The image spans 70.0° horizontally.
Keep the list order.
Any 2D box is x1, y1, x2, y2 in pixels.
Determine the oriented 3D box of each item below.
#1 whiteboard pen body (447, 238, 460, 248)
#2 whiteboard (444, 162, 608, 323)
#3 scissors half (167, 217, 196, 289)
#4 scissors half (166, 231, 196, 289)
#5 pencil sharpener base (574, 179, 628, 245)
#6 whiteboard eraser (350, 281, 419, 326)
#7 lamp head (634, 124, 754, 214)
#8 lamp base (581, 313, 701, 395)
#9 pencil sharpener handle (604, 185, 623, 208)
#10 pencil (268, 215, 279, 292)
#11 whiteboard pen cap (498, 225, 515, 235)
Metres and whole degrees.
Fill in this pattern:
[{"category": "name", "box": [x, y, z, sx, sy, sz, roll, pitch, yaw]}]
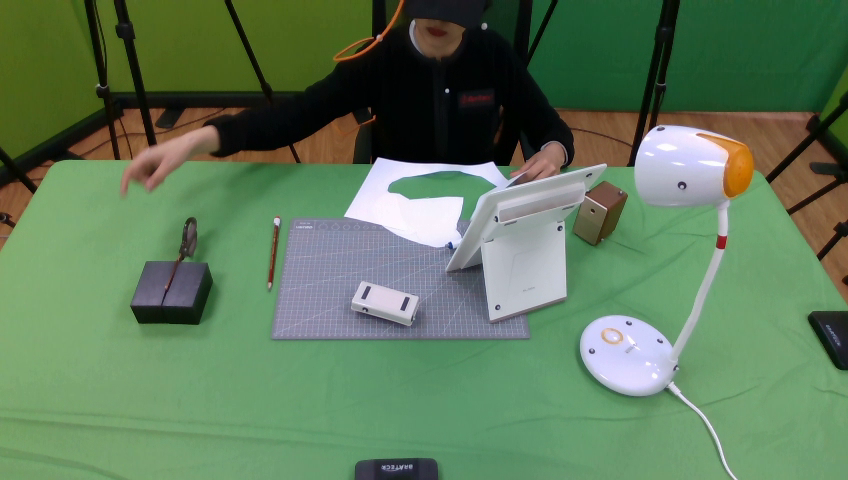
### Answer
[{"category": "whiteboard pen body", "box": [0.112, -0.006, 1.204, 0.141, 0.017, 0.017, -14, 49, -18]}, {"category": "whiteboard", "box": [0.186, 0.025, 1.029, 0.217, 0.306, 0.143, -14, 68, -18]}, {"category": "scissors half", "box": [-0.436, 0.020, 1.085, 0.013, 0.040, 0.174, 6, 46, -7]}, {"category": "scissors half", "box": [-0.440, 0.036, 1.097, 0.013, 0.040, 0.174, 11, 28, -10]}, {"category": "pencil sharpener base", "box": [0.355, -0.057, 1.217, 0.076, 0.107, 0.061, -33, 56, -31]}, {"category": "whiteboard eraser", "box": [-0.069, 0.113, 1.065, 0.112, 0.042, 0.055, 14, 46, 9]}, {"category": "lamp head", "box": [0.351, -0.089, 0.775, 0.112, 0.113, 0.122, -30, 30, -28]}, {"category": "lamp base", "box": [0.361, 0.144, 0.972, 0.178, 0.181, 0.160, 34, 53, 23]}, {"category": "pencil sharpener handle", "box": [0.390, -0.091, 1.235, 0.030, 0.068, 0.036, -33, 69, -31]}, {"category": "pencil", "box": [-0.290, 0.023, 1.164, 0.012, 0.012, 0.192, -2, 48, -6]}, {"category": "whiteboard pen cap", "box": [0.166, -0.019, 1.223, 0.033, 0.018, 0.018, -14, 49, -19]}]
